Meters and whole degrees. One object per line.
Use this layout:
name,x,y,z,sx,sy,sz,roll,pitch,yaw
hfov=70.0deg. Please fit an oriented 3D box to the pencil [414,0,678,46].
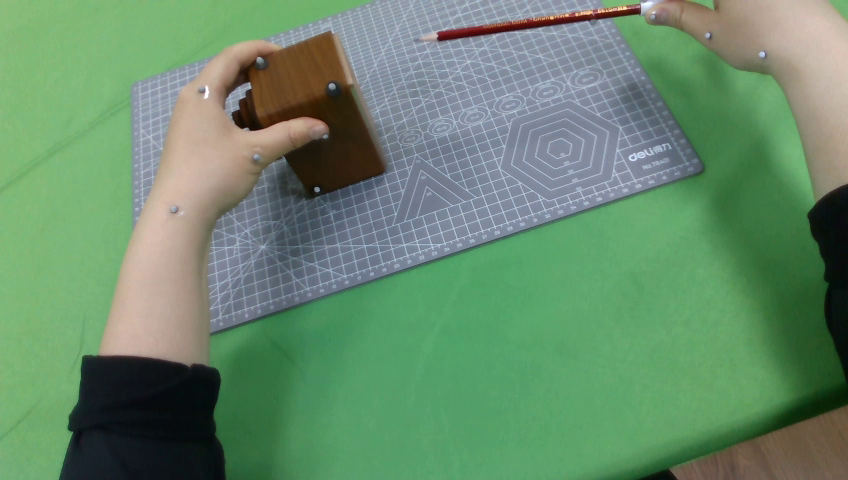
pencil,0.088,-0.161,0.447,0.194,0.012,0.012,-8,61,5

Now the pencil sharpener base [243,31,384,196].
pencil sharpener base,-0.084,-0.093,0.469,0.077,0.108,0.061,-21,60,1

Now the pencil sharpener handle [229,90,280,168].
pencil sharpener handle,-0.134,-0.080,0.459,0.030,0.068,0.035,-21,59,1
